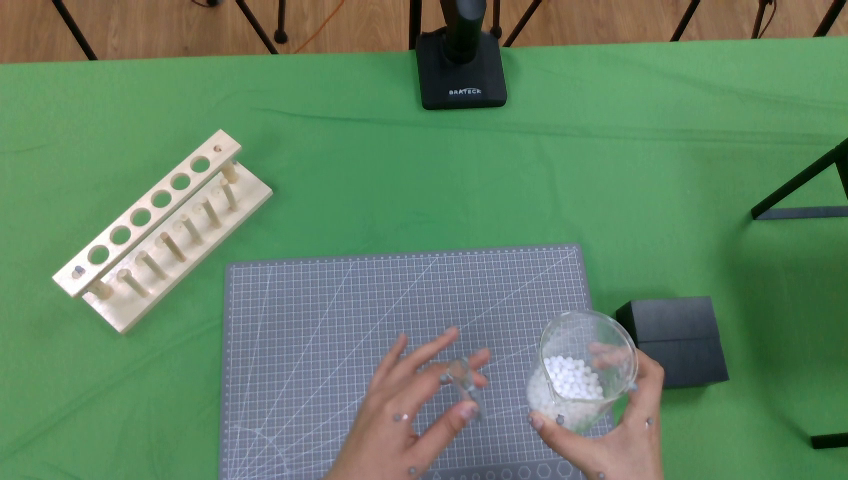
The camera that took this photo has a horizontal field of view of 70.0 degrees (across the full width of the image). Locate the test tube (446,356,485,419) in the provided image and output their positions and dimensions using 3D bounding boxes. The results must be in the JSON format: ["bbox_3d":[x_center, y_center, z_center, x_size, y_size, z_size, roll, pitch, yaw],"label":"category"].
[{"bbox_3d":[0.036,0.122,0.488,0.017,0.151,0.017,-5,62,9],"label":"test tube"}]

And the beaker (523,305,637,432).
[{"bbox_3d":[0.120,0.111,0.492,0.073,0.101,0.084,32,63,19],"label":"beaker"}]

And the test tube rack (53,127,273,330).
[{"bbox_3d":[-0.293,-0.014,0.710,0.066,0.085,0.242,39,71,10],"label":"test tube rack"}]
